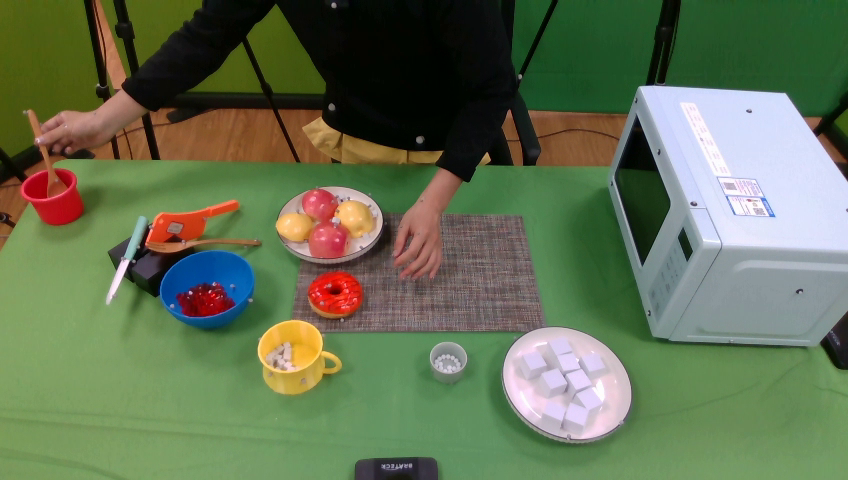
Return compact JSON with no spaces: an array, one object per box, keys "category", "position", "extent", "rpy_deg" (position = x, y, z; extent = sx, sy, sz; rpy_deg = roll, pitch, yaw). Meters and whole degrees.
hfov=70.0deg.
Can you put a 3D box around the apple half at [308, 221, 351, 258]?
[{"category":"apple half","position":[-0.180,-0.005,1.150],"extent":[0.074,0.053,0.080],"rpy_deg":[14,43,8]}]

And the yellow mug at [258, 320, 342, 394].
[{"category":"yellow mug","position":[-0.196,0.189,0.971],"extent":[0.131,0.064,0.099],"rpy_deg":[9,46,4]}]

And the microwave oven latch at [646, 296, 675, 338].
[{"category":"microwave oven latch","position":[0.412,0.134,1.061],"extent":[0.030,0.029,0.078],"rpy_deg":[4,45,1]}]

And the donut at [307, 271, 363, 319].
[{"category":"donut","position":[-0.157,0.097,1.072],"extent":[0.099,0.048,0.098],"rpy_deg":[4,45,-4]}]

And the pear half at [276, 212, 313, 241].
[{"category":"pear half","position":[-0.244,-0.035,1.178],"extent":[0.070,0.031,0.088],"rpy_deg":[40,42,1]}]

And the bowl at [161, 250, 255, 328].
[{"category":"bowl","position":[-0.362,0.097,1.040],"extent":[0.151,0.077,0.150],"rpy_deg":[2,45,-2]}]

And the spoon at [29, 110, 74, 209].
[{"category":"spoon","position":[-0.724,-0.155,1.171],"extent":[0.042,0.194,0.021],"rpy_deg":[-17,17,-25]}]

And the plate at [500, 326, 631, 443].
[{"category":"plate","position":[0.224,0.234,0.978],"extent":[0.208,0.039,0.206],"rpy_deg":[2,46,-2]}]

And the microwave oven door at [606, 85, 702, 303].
[{"category":"microwave oven door","position":[0.422,-0.094,1.140],"extent":[0.039,0.245,0.353],"rpy_deg":[2,46,-1]}]

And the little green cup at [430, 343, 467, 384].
[{"category":"little green cup","position":[0.039,0.203,0.994],"extent":[0.061,0.039,0.061],"rpy_deg":[2,46,-2]}]

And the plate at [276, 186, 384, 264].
[{"category":"plate","position":[-0.184,-0.027,1.195],"extent":[0.209,0.038,0.208],"rpy_deg":[2,46,-2]}]

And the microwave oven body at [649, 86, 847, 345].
[{"category":"microwave oven body","position":[0.568,-0.053,1.118],"extent":[0.326,0.261,0.439],"rpy_deg":[2,45,-1]}]

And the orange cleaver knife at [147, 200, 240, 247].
[{"category":"orange cleaver knife","position":[-0.435,-0.033,1.157],"extent":[0.012,0.077,0.211],"rpy_deg":[31,26,19]}]

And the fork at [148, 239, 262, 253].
[{"category":"fork","position":[-0.398,0.008,1.117],"extent":[0.208,0.019,0.028],"rpy_deg":[-5,34,-37]}]

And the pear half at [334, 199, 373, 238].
[{"category":"pear half","position":[-0.147,-0.060,1.210],"extent":[0.076,0.056,0.109],"rpy_deg":[-17,46,-26]}]

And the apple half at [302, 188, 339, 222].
[{"category":"apple half","position":[-0.205,-0.076,1.217],"extent":[0.081,0.033,0.081],"rpy_deg":[17,47,-19]}]

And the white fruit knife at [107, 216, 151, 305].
[{"category":"white fruit knife","position":[-0.518,0.032,1.066],"extent":[0.027,0.016,0.206],"rpy_deg":[-19,45,19]}]
